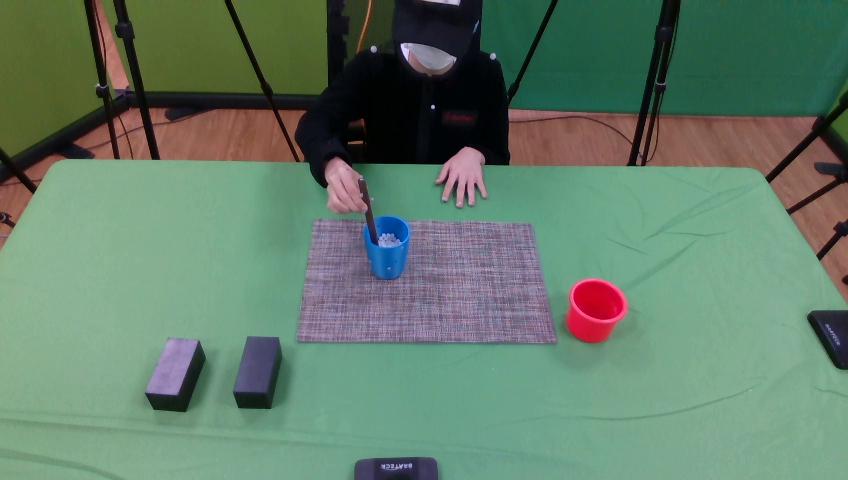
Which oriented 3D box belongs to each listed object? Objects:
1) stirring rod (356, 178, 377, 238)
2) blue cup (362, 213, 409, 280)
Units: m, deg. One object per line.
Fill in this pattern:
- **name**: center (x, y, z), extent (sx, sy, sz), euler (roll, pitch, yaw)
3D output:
- **stirring rod**: center (-0.095, -0.039, 1.042), extent (0.014, 0.177, 0.006), euler (14, 51, 20)
- **blue cup**: center (-0.070, 0.020, 1.113), extent (0.093, 0.101, 0.092), euler (1, 46, -1)
